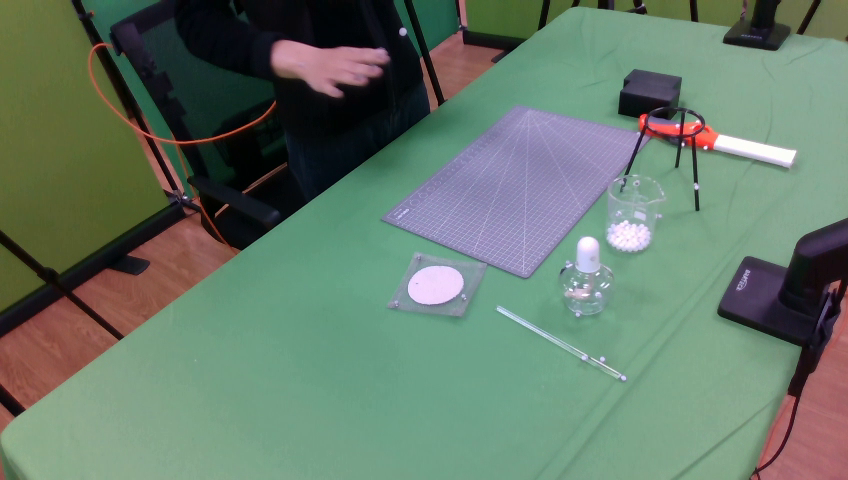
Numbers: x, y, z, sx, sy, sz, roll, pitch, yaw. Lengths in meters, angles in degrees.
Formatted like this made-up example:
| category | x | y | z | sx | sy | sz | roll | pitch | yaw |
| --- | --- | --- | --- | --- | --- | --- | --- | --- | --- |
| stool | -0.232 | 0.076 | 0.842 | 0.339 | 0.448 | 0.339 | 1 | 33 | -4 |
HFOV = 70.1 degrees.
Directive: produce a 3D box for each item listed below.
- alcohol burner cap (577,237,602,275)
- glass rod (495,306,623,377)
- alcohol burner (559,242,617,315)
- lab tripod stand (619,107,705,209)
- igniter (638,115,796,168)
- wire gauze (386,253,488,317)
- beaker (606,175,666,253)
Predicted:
| category | x | y | z | sx | sy | sz | roll | pitch | yaw |
| --- | --- | --- | --- | --- | --- | --- | --- | --- | --- |
| alcohol burner cap | 0.216 | 0.018 | 0.793 | 0.034 | 0.048 | 0.033 | -8 | 35 | 6 |
| glass rod | 0.174 | 0.131 | 0.804 | 0.198 | 0.008 | 0.008 | 27 | 53 | 35 |
| alcohol burner | 0.222 | 0.045 | 0.816 | 0.078 | 0.119 | 0.077 | -4 | 42 | 4 |
| lab tripod stand | 0.400 | -0.136 | 0.980 | 0.148 | 0.132 | 0.147 | -4 | 41 | 4 |
| igniter | 0.517 | -0.181 | 1.093 | 0.274 | 0.025 | 0.057 | 23 | 65 | 32 |
| wire gauze | 0.021 | 0.066 | 0.910 | 0.121 | 0.011 | 0.125 | 9 | 41 | 20 |
| beaker | 0.314 | -0.036 | 0.906 | 0.083 | 0.101 | 0.074 | 15 | 46 | 25 |
